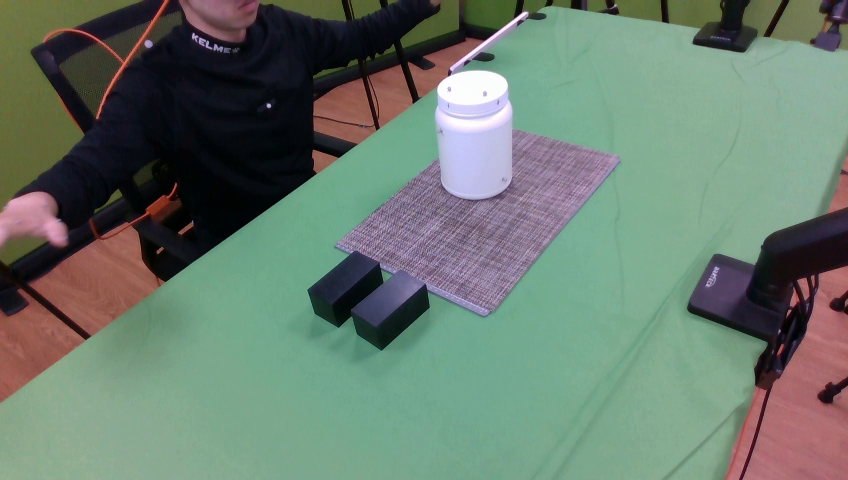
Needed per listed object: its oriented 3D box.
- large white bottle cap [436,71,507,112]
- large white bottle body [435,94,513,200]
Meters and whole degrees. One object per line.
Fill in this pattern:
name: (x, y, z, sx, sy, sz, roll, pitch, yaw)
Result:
large white bottle cap: (0.077, -0.241, 0.976, 0.115, 0.018, 0.114, -4, 41, 4)
large white bottle body: (0.086, -0.176, 1.030, 0.130, 0.185, 0.130, -4, 41, 4)
